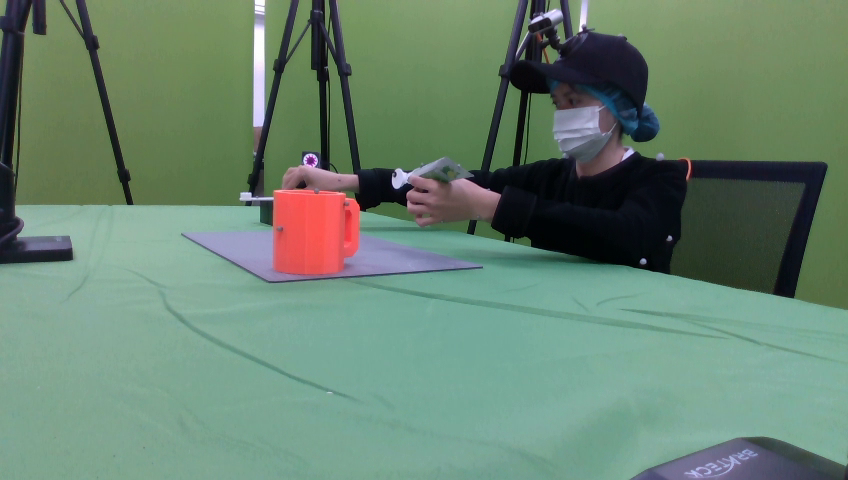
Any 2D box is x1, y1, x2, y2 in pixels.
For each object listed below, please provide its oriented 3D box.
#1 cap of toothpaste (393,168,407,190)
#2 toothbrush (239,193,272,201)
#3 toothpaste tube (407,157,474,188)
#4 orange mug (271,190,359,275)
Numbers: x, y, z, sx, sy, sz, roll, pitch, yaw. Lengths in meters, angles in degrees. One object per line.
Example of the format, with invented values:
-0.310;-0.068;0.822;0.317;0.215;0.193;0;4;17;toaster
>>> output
-0.040;-0.103;1.021;0.011;0.037;0.037;2;6;-38;cap of toothpaste
-0.285;-0.087;1.235;0.183;0.016;0.014;-2;7;-34;toothbrush
0.016;-0.105;0.950;0.055;0.034;0.164;26;-13;-23;toothpaste tube
-0.131;-0.013;0.754;0.083;0.101;0.127;8;13;38;orange mug
